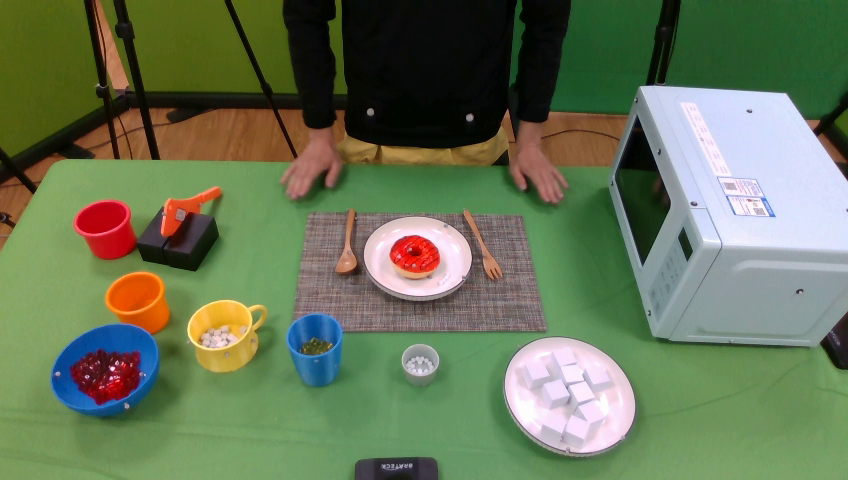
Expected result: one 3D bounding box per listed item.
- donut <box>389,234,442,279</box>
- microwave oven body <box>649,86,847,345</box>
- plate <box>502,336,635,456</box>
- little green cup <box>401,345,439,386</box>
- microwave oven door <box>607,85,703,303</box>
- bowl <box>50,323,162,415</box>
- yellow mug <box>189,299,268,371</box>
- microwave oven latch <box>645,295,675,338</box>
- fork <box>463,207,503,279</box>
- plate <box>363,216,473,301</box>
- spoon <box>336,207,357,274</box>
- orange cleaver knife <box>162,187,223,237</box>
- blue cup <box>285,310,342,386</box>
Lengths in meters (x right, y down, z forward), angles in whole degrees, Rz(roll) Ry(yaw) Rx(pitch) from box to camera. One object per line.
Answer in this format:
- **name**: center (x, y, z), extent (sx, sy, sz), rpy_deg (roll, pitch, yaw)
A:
- **donut**: center (-0.016, 0.031, 1.135), extent (0.099, 0.048, 0.098), rpy_deg (3, 44, -3)
- **microwave oven body**: center (0.568, -0.053, 1.118), extent (0.326, 0.261, 0.439), rpy_deg (2, 45, -1)
- **plate**: center (0.225, 0.248, 0.963), extent (0.208, 0.039, 0.206), rpy_deg (2, 46, -2)
- **little green cup**: center (-0.007, 0.206, 0.988), extent (0.061, 0.039, 0.061), rpy_deg (2, 46, -2)
- **microwave oven door**: center (0.423, -0.094, 1.141), extent (0.039, 0.245, 0.353), rpy_deg (2, 46, -1)
- **bowl**: center (-0.472, 0.209, 0.924), extent (0.151, 0.077, 0.150), rpy_deg (3, 45, -2)
- **yellow mug**: center (-0.316, 0.148, 1.002), extent (0.131, 0.064, 0.099), rpy_deg (-32, 56, -31)
- **microwave oven latch**: center (0.412, 0.134, 1.061), extent (0.030, 0.029, 0.078), rpy_deg (3, 45, 0)
- **fork**: center (0.112, 0.003, 1.199), extent (0.028, 0.019, 0.206), rpy_deg (-20, 50, -1)
- **plate**: center (-0.012, 0.038, 1.144), extent (0.209, 0.038, 0.208), rpy_deg (2, 46, -2)
- **spoon**: center (-0.147, -0.002, 1.184), extent (0.041, 0.022, 0.192), rpy_deg (-15, 45, 14)
- **orange cleaver knife**: center (-0.448, -0.058, 1.181), extent (0.012, 0.077, 0.211), rpy_deg (13, 17, 6)
- **blue cup**: center (-0.170, 0.179, 0.958), extent (0.093, 0.101, 0.092), rpy_deg (2, 44, -1)
